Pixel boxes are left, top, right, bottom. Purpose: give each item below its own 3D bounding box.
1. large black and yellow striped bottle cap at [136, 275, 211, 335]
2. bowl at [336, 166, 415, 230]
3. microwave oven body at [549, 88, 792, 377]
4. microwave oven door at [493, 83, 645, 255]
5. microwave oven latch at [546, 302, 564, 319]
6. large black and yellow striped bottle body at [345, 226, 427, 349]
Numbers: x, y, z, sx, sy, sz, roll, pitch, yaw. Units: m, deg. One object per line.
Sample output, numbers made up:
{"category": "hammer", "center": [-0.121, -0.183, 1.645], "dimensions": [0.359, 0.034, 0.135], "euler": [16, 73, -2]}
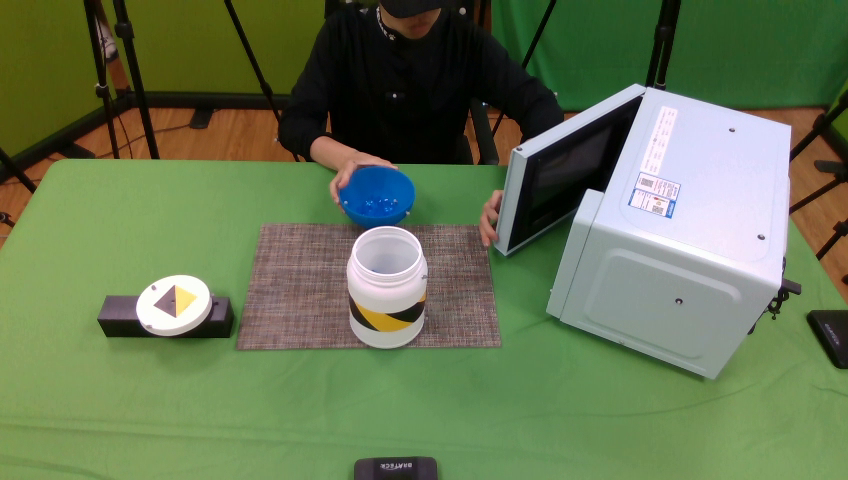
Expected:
{"category": "large black and yellow striped bottle cap", "center": [-0.412, 0.105, 0.999], "dimensions": [0.115, 0.019, 0.114], "euler": [3, 46, -3]}
{"category": "bowl", "center": [-0.093, -0.068, 1.197], "dimensions": [0.151, 0.077, 0.150], "euler": [2, 46, -2]}
{"category": "microwave oven body", "center": [0.456, -0.028, 1.088], "dimensions": [0.325, 0.261, 0.440], "euler": [20, 47, 16]}
{"category": "microwave oven door", "center": [0.285, -0.141, 1.177], "dimensions": [0.356, 0.245, 0.039], "euler": [-30, 55, -29]}
{"category": "microwave oven latch", "center": [0.242, 0.102, 1.081], "dimensions": [0.030, 0.029, 0.079], "euler": [21, 48, 17]}
{"category": "large black and yellow striped bottle body", "center": [-0.062, 0.078, 0.998], "dimensions": [0.131, 0.185, 0.130], "euler": [2, 46, -2]}
